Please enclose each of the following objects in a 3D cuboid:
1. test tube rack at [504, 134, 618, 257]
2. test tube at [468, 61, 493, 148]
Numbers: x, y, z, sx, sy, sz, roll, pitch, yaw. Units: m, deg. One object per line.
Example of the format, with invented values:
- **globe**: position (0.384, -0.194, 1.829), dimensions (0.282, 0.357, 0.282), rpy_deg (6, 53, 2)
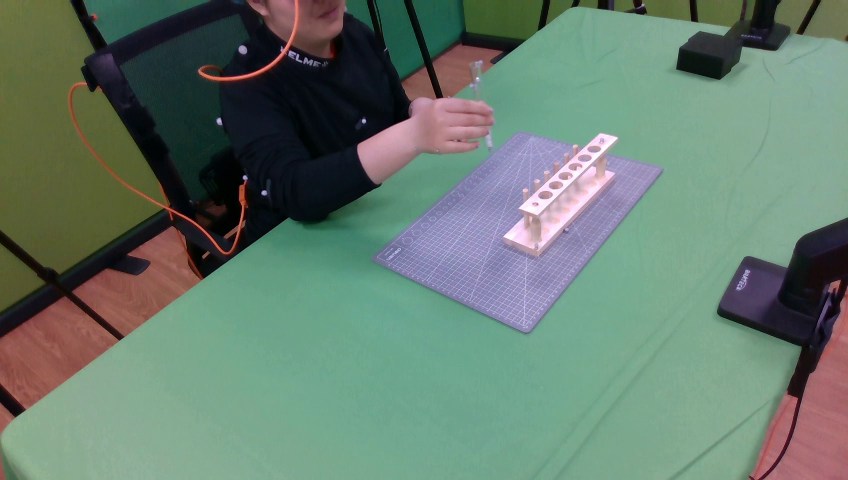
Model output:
- **test tube rack**: position (0.225, -0.083, 0.985), dimensions (0.066, 0.085, 0.243), rpy_deg (25, 51, 34)
- **test tube**: position (0.087, -0.200, 0.912), dimensions (0.017, 0.151, 0.017), rpy_deg (-9, 45, 9)
